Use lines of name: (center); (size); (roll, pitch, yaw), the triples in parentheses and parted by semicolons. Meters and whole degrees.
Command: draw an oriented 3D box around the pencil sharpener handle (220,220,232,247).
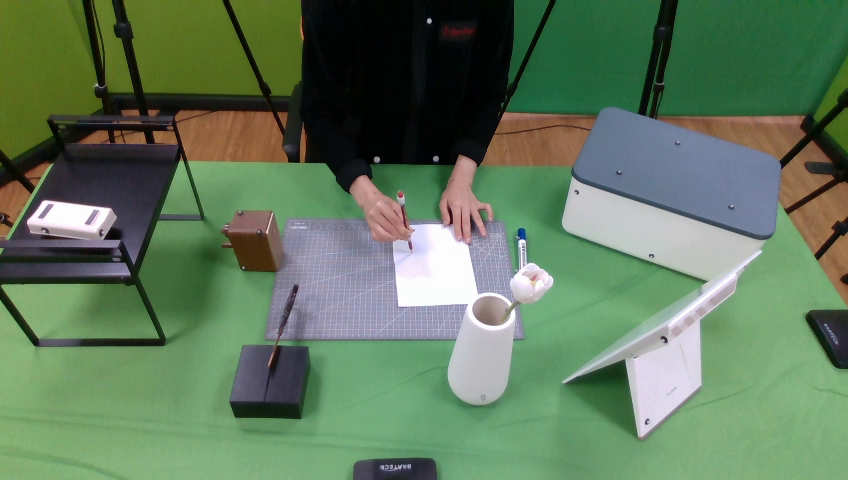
pencil sharpener handle: (-0.362, -0.009, 1.105); (0.030, 0.068, 0.036); (0, 52, 1)

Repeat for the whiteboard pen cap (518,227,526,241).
whiteboard pen cap: (0.197, -0.009, 1.220); (0.018, 0.018, 0.033); (5, 50, 1)

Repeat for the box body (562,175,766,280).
box body: (0.486, -0.088, 1.222); (0.363, 0.161, 0.253); (20, 48, 15)

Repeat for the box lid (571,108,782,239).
box lid: (0.491, -0.139, 1.168); (0.370, 0.015, 0.262); (21, 49, 15)

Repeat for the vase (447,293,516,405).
vase: (0.091, 0.169, 0.921); (0.098, 0.201, 0.097); (3, 47, -3)

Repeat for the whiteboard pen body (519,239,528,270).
whiteboard pen body: (0.193, 0.035, 1.181); (0.017, 0.017, 0.140); (6, 48, 1)

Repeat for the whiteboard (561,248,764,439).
whiteboard: (0.386, 0.176, 0.905); (0.217, 0.306, 0.143); (-26, 72, -27)

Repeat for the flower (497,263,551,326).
flower: (0.102, 0.121, 0.853); (0.044, 0.363, 0.038); (-2, 64, -10)

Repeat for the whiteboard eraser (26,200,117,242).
whiteboard eraser: (-0.532, -0.026, 0.919); (0.113, 0.042, 0.055); (7, 45, 3)

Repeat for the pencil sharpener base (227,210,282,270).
pencil sharpener base: (-0.311, 0.001, 1.112); (0.077, 0.107, 0.061); (0, 47, 1)

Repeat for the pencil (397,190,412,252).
pencil: (-0.033, -0.029, 1.100); (0.012, 0.195, 0.012); (-3, 57, 4)

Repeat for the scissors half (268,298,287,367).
scissors half: (-0.239, 0.150, 0.997); (0.013, 0.040, 0.174); (24, 24, -14)

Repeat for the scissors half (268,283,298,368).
scissors half: (-0.230, 0.135, 0.986); (0.013, 0.040, 0.174); (19, 43, -11)
